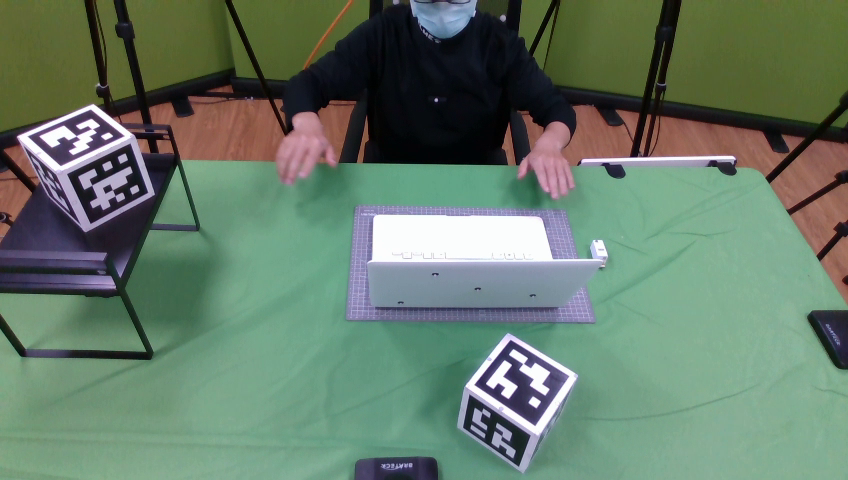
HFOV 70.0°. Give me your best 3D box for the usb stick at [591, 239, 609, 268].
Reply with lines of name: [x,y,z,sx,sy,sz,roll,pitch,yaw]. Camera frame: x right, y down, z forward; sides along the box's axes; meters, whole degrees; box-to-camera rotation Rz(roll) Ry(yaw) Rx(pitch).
usb stick: [0.347,0.028,1.188,0.021,0.027,0.059,4,48,-6]

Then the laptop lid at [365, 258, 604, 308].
laptop lid: [0.085,0.074,0.978,0.357,0.242,0.013,1,67,-5]

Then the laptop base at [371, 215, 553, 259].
laptop base: [0.075,0.037,1.167,0.355,0.023,0.234,0,43,-4]
